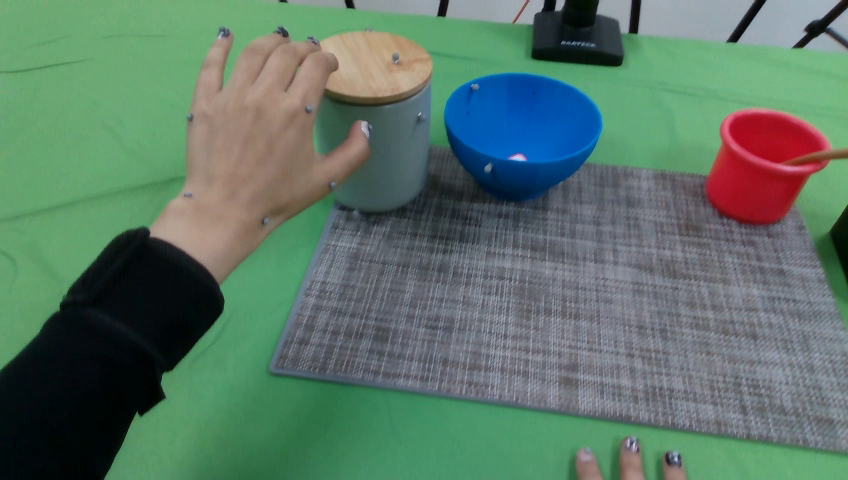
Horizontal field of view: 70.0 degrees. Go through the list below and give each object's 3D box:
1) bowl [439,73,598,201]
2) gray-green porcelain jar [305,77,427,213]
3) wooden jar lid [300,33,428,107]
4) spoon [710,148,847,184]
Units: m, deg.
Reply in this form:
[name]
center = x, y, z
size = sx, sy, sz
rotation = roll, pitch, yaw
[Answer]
[bowl]
center = 0.088, -0.092, 0.600
size = 0.151, 0.077, 0.150
rotation = 1, 46, -1
[gray-green porcelain jar]
center = -0.051, -0.097, 0.565
size = 0.106, 0.127, 0.105
rotation = 1, 45, -1
[wooden jar lid]
center = -0.051, -0.143, 0.519
size = 0.108, 0.021, 0.107
rotation = 2, 45, -2
[spoon]
center = 0.342, -0.069, 0.541
size = 0.041, 0.193, 0.022
rotation = -25, 97, -22
